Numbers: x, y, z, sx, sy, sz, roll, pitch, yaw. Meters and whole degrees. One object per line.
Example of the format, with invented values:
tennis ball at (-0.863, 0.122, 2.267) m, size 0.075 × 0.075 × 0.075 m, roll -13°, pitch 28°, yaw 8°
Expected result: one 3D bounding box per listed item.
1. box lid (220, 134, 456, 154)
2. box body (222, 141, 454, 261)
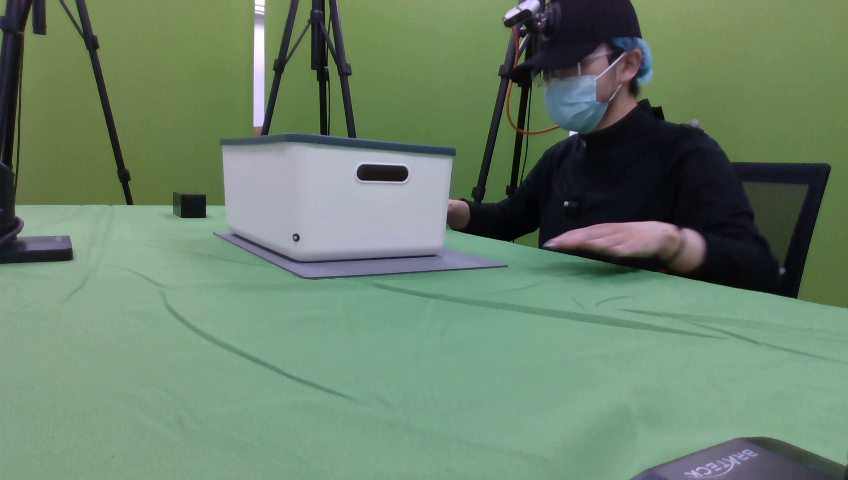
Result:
box lid at (-0.148, -0.147, 0.951) m, size 0.265 × 0.015 × 0.369 m, roll -2°, pitch 8°, yaw -33°
box body at (-0.152, -0.074, 0.963) m, size 0.255 × 0.160 × 0.362 m, roll -3°, pitch 9°, yaw -33°
